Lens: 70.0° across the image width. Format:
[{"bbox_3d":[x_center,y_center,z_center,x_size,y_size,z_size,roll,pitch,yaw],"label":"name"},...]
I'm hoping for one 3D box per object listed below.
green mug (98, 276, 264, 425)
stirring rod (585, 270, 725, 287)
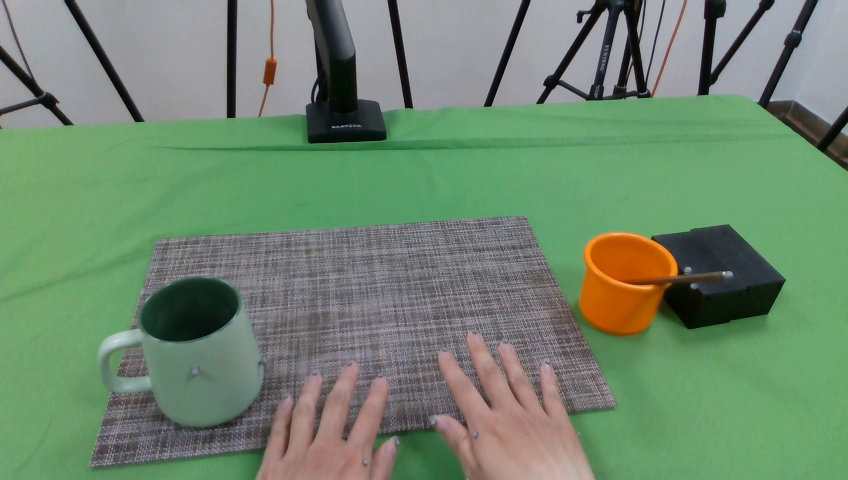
[{"bbox_3d":[-0.204,0.098,0.510,0.125,0.106,0.091,-11,40,-17],"label":"green mug"},{"bbox_3d":[0.217,0.039,0.591,0.014,0.006,0.175,-14,-1,-24],"label":"stirring rod"}]
